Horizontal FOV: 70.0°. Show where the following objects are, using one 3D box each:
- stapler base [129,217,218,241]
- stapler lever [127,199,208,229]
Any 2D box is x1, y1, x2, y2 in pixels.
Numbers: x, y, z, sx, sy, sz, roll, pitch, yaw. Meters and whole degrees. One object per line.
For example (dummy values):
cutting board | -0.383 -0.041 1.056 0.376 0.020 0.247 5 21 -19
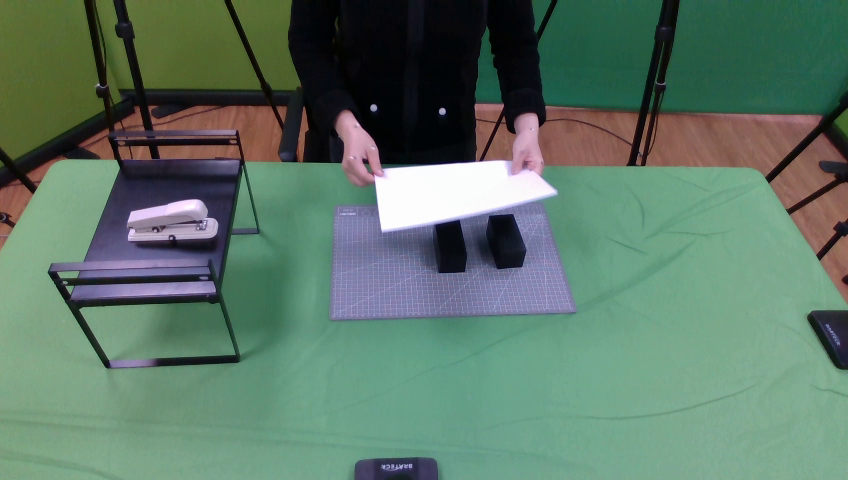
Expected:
stapler base | -0.390 -0.023 0.940 0.131 0.024 0.041 -4 43 -6
stapler lever | -0.391 -0.039 0.922 0.118 0.040 0.026 -3 43 -6
